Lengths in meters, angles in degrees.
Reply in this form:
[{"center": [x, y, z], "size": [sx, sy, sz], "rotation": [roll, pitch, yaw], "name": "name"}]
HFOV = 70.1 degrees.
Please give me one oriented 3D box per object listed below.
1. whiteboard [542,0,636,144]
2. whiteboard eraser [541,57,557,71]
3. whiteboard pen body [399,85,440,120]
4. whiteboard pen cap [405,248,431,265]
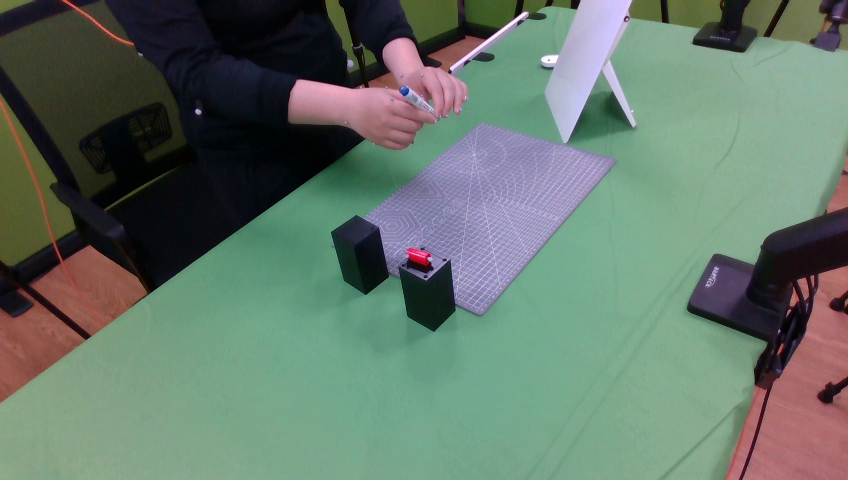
[{"center": [0.366, -0.351, 1.160], "size": [0.144, 0.305, 0.216], "rotation": [10, 39, -10], "name": "whiteboard"}, {"center": [0.323, -0.412, 1.407], "size": [0.101, 0.019, 0.041], "rotation": [1, 42, 11], "name": "whiteboard eraser"}, {"center": [-0.003, -0.205, 0.920], "size": [0.017, 0.141, 0.017], "rotation": [-3, 81, 23], "name": "whiteboard pen body"}, {"center": [-0.008, 0.021, 0.794], "size": [0.032, 0.017, 0.017], "rotation": [17, 46, 28], "name": "whiteboard pen cap"}]
